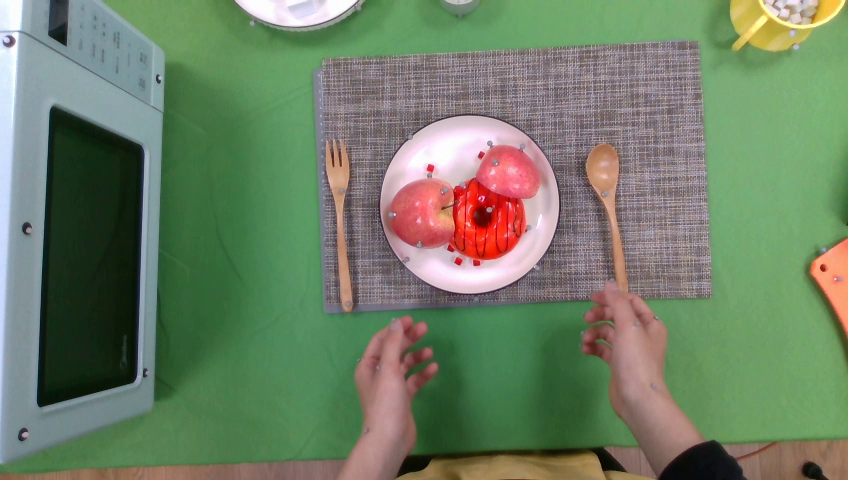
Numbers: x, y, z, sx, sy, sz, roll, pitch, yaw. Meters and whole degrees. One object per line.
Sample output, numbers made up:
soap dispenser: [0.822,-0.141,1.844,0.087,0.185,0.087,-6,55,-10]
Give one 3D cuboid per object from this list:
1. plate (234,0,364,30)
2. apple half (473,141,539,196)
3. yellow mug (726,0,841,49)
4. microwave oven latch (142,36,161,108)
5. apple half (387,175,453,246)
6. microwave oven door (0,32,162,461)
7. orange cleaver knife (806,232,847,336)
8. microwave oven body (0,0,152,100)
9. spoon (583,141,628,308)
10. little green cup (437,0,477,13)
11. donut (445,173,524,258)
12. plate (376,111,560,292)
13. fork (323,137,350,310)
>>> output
plate: [-0.148,-0.353,0.738,0.207,0.039,0.207,0,86,4]
apple half: [0.097,-0.086,0.675,0.081,0.033,0.080,9,48,-9]
yellow mug: [0.393,-0.266,0.681,0.131,0.064,0.100,-45,84,1]
microwave oven latch: [-0.332,-0.200,0.722,0.030,0.029,0.079,1,87,4]
apple half: [-0.010,-0.034,0.674,0.074,0.054,0.080,-3,84,45]
microwave oven door: [-0.342,0.011,0.608,0.039,0.244,0.355,0,86,4]
orange cleaver knife: [0.494,0.096,0.675,0.077,0.012,0.210,-18,84,-3]
microwave oven body: [-0.487,-0.030,0.626,0.326,0.260,0.441,0,87,3]
spoon: [0.214,-0.018,0.696,0.042,0.021,0.193,-7,85,-21]
little green cup: [0.039,-0.303,0.722,0.061,0.039,0.061,0,86,4]
donut: [0.064,-0.028,0.688,0.099,0.048,0.099,0,89,5]
plate: [0.050,-0.044,0.702,0.209,0.038,0.208,0,87,4]
fork: [-0.101,-0.020,0.720,0.028,0.018,0.206,-4,84,-1]
